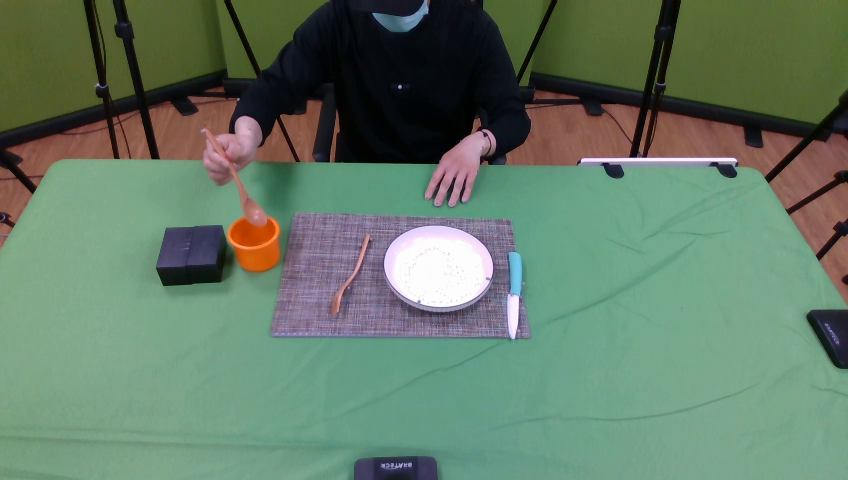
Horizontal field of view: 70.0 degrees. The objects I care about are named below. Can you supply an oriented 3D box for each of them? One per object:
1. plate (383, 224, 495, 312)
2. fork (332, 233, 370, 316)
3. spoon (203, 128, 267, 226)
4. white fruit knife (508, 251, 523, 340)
[{"bbox_3d":[0.026,0.055,1.128,0.209,0.038,0.208,2,46,-2],"label":"plate"},{"bbox_3d":[-0.133,0.058,1.126,0.019,0.028,0.206,35,43,-13],"label":"fork"},{"bbox_3d":[-0.334,-0.110,1.072,0.021,0.194,0.041,-12,21,34],"label":"spoon"},{"bbox_3d":[0.169,0.098,1.113,0.027,0.016,0.206,-13,43,23],"label":"white fruit knife"}]
